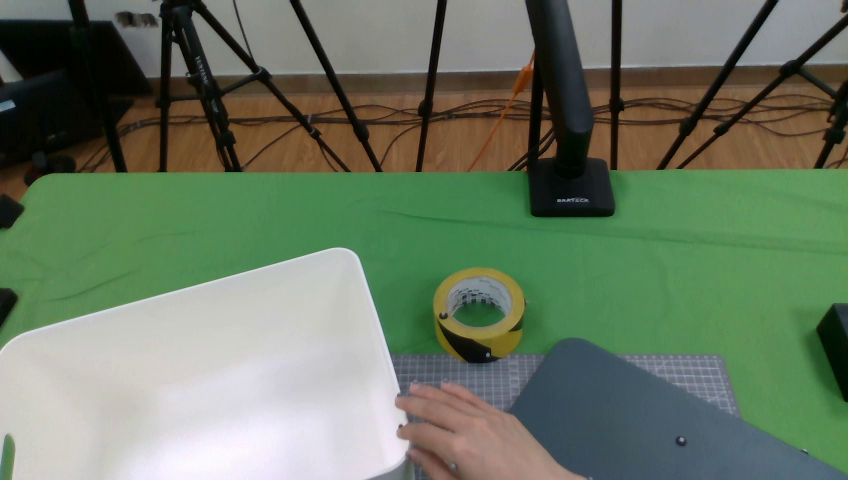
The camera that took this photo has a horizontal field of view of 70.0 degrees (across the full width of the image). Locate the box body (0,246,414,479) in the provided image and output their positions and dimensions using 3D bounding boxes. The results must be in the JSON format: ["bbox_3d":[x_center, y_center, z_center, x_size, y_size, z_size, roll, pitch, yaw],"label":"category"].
[{"bbox_3d":[-0.207,0.188,0.604,0.364,0.162,0.251,-16,50,-9],"label":"box body"}]

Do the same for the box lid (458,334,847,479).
[{"bbox_3d":[0.242,0.265,0.604,0.369,0.015,0.262,26,56,24],"label":"box lid"}]

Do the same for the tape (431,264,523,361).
[{"bbox_3d":[0.063,0.087,0.746,0.117,0.053,0.115,-2,46,2],"label":"tape"}]
